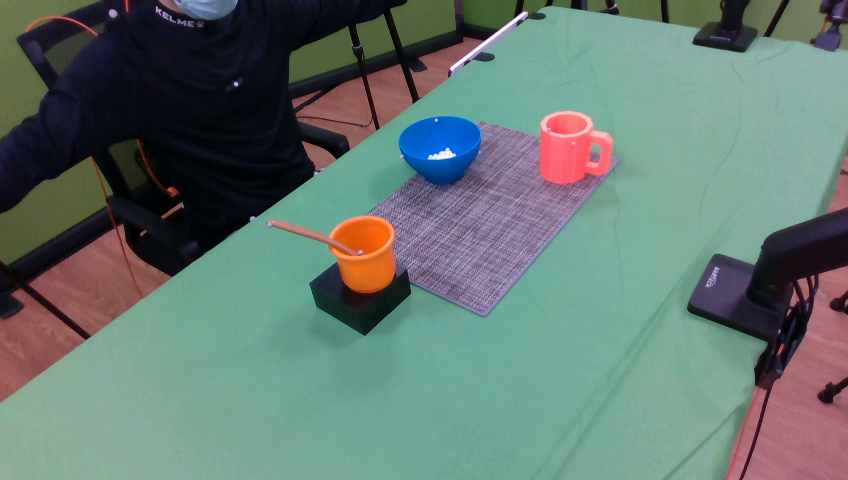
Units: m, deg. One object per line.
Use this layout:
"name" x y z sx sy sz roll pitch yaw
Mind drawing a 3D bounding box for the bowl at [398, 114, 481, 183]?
"bowl" 0.031 -0.156 1.097 0.151 0.077 0.150 -4 41 4

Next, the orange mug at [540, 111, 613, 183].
"orange mug" 0.263 -0.159 1.052 0.125 0.101 0.083 13 45 28

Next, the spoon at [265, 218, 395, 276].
"spoon" -0.120 0.007 0.803 0.021 0.195 0.041 -45 37 25
